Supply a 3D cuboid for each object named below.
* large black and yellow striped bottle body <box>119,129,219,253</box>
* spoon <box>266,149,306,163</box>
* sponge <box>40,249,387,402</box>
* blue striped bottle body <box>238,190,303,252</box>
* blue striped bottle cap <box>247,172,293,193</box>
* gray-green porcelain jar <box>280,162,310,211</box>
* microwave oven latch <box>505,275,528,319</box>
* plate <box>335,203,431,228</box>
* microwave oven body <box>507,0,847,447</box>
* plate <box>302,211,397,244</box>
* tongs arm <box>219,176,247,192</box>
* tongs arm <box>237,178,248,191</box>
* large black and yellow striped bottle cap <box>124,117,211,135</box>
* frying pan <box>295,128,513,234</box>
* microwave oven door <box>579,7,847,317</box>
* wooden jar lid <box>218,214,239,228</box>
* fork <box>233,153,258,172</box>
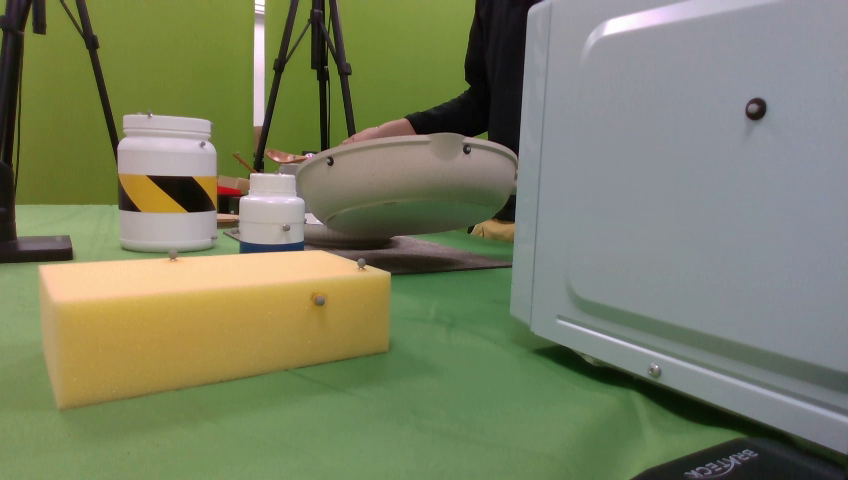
[{"bbox_3d":[-0.367,-0.080,0.876,0.131,0.184,0.130,2,7,0],"label":"large black and yellow striped bottle body"},{"bbox_3d":[-0.218,-0.164,1.218,0.194,0.021,0.041,2,34,-13],"label":"spoon"},{"bbox_3d":[-0.142,0.047,0.419,0.208,0.061,0.117,-2,8,-36],"label":"sponge"},{"bbox_3d":[-0.153,-0.007,0.606,0.063,0.120,0.063,2,8,0],"label":"blue striped bottle body"},{"bbox_3d":[-0.152,-0.057,0.598,0.044,0.020,0.044,3,7,0],"label":"blue striped bottle cap"},{"bbox_3d":[-0.238,-0.092,1.221,0.106,0.126,0.106,2,8,0],"label":"gray-green porcelain jar"},{"bbox_3d":[0.100,0.041,0.471,0.079,0.029,0.030,-1,7,-28],"label":"microwave oven latch"},{"bbox_3d":[-0.089,-0.053,1.309,0.208,0.039,0.207,2,8,0],"label":"plate"},{"bbox_3d":[0.331,-0.042,0.425,0.444,0.260,0.324,-2,8,-31],"label":"microwave oven body"},{"bbox_3d":[-0.139,-0.022,1.021,0.209,0.038,0.209,2,8,0],"label":"plate"},{"bbox_3d":[-0.286,-0.104,1.445,0.389,0.027,0.028,9,-4,-23],"label":"tongs arm"},{"bbox_3d":[-0.242,-0.095,1.374,0.387,0.026,0.050,9,0,-37],"label":"tongs arm"},{"bbox_3d":[-0.366,-0.163,0.866,0.115,0.019,0.115,3,7,0],"label":"large black and yellow striped bottle cap"},{"bbox_3d":[0.077,-0.082,0.830,0.490,0.102,0.306,-10,-6,-20],"label":"frying pan"},{"bbox_3d":[0.294,-0.067,0.570,0.358,0.243,0.039,-3,9,-31],"label":"microwave oven door"},{"bbox_3d":[-0.404,-0.037,1.169,0.108,0.020,0.108,3,7,0],"label":"wooden jar lid"},{"bbox_3d":[-0.396,-0.143,1.486,0.028,0.018,0.208,21,-25,45],"label":"fork"}]
